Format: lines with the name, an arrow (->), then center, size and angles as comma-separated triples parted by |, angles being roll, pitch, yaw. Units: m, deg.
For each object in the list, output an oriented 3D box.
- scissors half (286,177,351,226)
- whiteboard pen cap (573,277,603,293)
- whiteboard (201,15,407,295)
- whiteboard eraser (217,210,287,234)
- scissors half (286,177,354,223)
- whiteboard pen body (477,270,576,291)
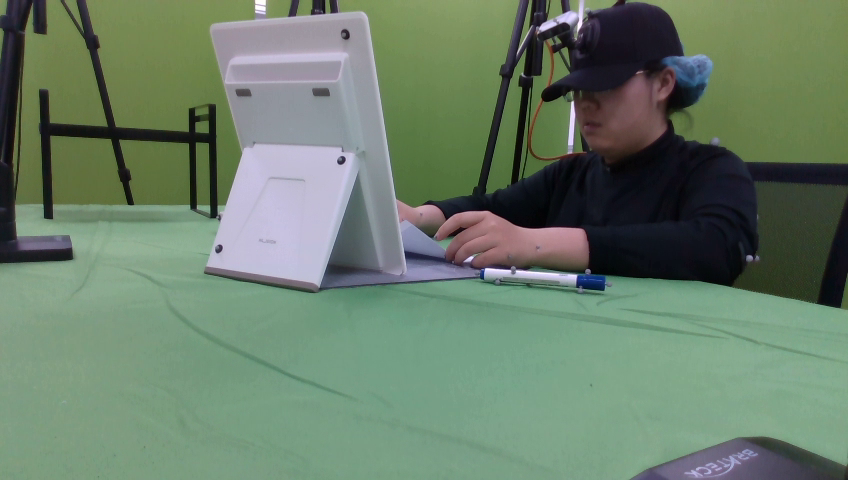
scissors half -> -0.232, -0.085, 1.317 | 0.175, 0.013, 0.040 | 37, 18, 4
whiteboard pen cap -> 0.186, 0.051, 0.687 | 0.033, 0.018, 0.018 | 4, 8, 17
whiteboard -> -0.167, -0.073, 0.668 | 0.216, 0.305, 0.144 | 7, 30, 28
whiteboard eraser -> -0.310, -0.034, 1.094 | 0.113, 0.042, 0.055 | -2, 11, -38
scissors half -> -0.230, -0.090, 1.337 | 0.175, 0.013, 0.040 | 33, 13, -13
whiteboard pen body -> 0.131, 0.048, 0.706 | 0.140, 0.017, 0.017 | 4, 8, 17
